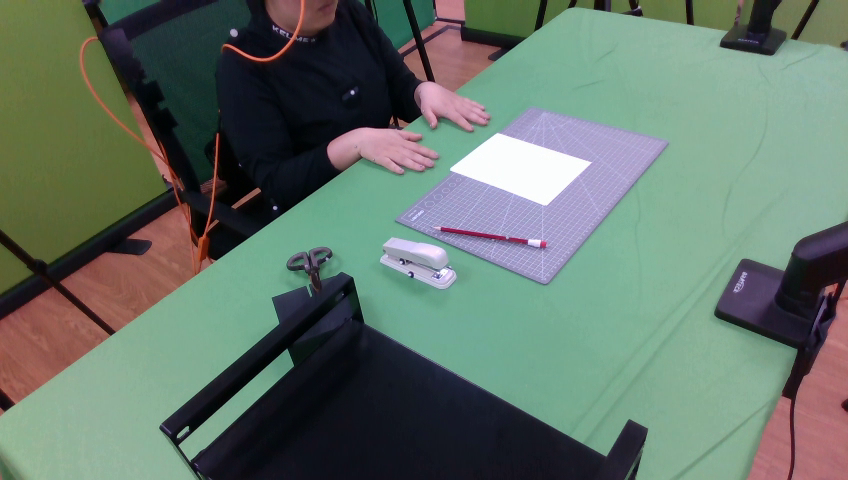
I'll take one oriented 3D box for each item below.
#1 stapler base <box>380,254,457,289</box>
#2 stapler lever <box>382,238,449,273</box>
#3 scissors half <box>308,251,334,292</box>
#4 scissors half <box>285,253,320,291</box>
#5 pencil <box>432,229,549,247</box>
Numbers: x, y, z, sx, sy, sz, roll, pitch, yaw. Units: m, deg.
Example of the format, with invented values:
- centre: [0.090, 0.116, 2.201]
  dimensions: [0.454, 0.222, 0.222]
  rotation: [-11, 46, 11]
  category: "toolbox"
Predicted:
- centre: [-0.010, 0.037, 0.934]
  dimensions: [0.129, 0.024, 0.041]
  rotation: [20, 44, 31]
  category: "stapler base"
- centre: [-0.014, 0.018, 0.919]
  dimensions: [0.117, 0.040, 0.027]
  rotation: [20, 45, 31]
  category: "stapler lever"
- centre: [-0.159, 0.046, 0.913]
  dimensions: [0.040, 0.013, 0.174]
  rotation: [-4, 17, -5]
  category: "scissors half"
- centre: [-0.179, 0.049, 0.909]
  dimensions: [0.040, 0.013, 0.174]
  rotation: [-15, 19, -20]
  category: "scissors half"
- centre: [0.103, -0.005, 0.970]
  dimensions: [0.193, 0.012, 0.012]
  rotation: [7, 42, 18]
  category: "pencil"
